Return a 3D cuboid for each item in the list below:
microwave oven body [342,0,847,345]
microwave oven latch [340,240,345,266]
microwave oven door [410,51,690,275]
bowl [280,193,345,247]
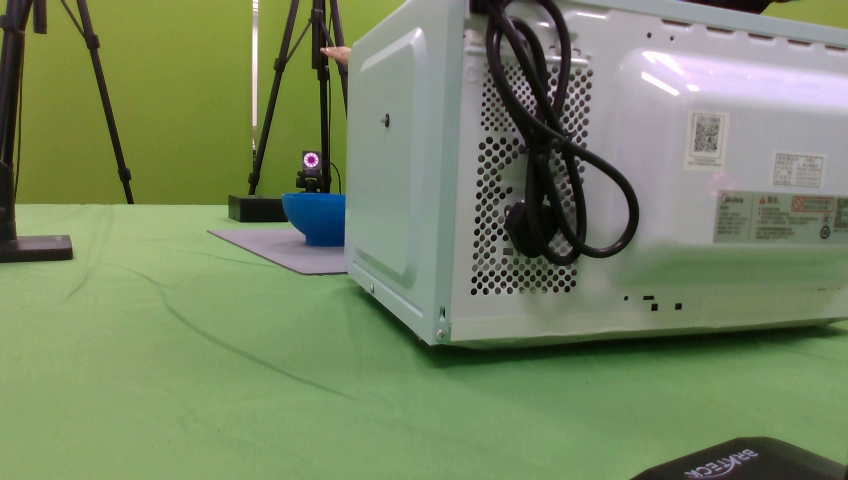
[{"bbox_3d":[0.169,-0.060,0.573,0.444,0.260,0.324,1,7,-20],"label":"microwave oven body"},{"bbox_3d":[-0.052,0.016,0.662,0.079,0.029,0.030,1,7,-19],"label":"microwave oven latch"},{"bbox_3d":[0.161,-0.084,0.723,0.357,0.243,0.039,0,8,-20],"label":"microwave oven door"},{"bbox_3d":[-0.153,-0.032,0.970,0.151,0.077,0.151,3,7,0],"label":"bowl"}]
